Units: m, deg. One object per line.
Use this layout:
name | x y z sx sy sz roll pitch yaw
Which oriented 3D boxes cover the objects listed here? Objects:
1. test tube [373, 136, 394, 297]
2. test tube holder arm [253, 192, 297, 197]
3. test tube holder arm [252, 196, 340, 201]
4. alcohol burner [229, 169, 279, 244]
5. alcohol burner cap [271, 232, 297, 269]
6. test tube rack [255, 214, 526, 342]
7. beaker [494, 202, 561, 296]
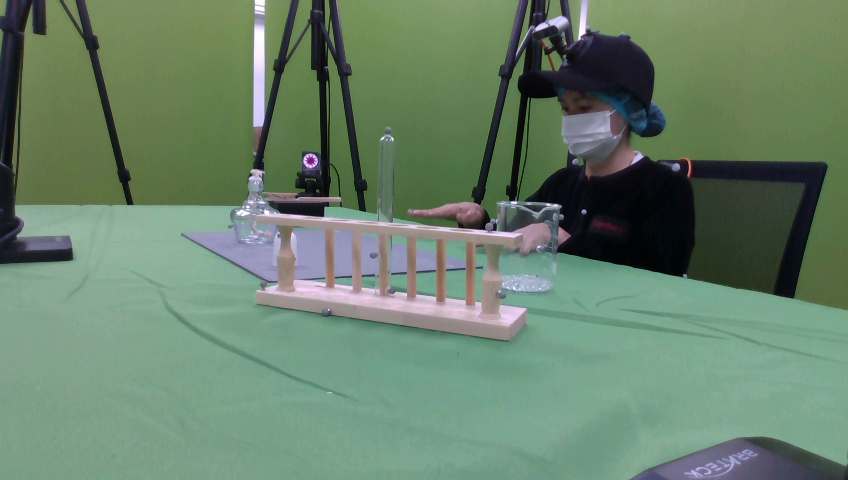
test tube | -0.038 -0.021 0.564 0.017 0.150 0.017 2 6 0
test tube holder arm | -0.301 -0.092 1.223 0.088 0.010 0.015 0 7 -25
test tube holder arm | -0.260 -0.086 1.242 0.179 0.013 0.015 -1 7 -25
alcohol burner | -0.268 -0.053 0.958 0.078 0.119 0.078 2 5 0
alcohol burner cap | -0.175 0.012 0.760 0.034 0.048 0.034 2 7 0
test tube rack | -0.032 0.027 0.546 0.241 0.085 0.067 5 7 21
beaker | 0.116 0.009 0.687 0.074 0.100 0.084 2 8 -4
